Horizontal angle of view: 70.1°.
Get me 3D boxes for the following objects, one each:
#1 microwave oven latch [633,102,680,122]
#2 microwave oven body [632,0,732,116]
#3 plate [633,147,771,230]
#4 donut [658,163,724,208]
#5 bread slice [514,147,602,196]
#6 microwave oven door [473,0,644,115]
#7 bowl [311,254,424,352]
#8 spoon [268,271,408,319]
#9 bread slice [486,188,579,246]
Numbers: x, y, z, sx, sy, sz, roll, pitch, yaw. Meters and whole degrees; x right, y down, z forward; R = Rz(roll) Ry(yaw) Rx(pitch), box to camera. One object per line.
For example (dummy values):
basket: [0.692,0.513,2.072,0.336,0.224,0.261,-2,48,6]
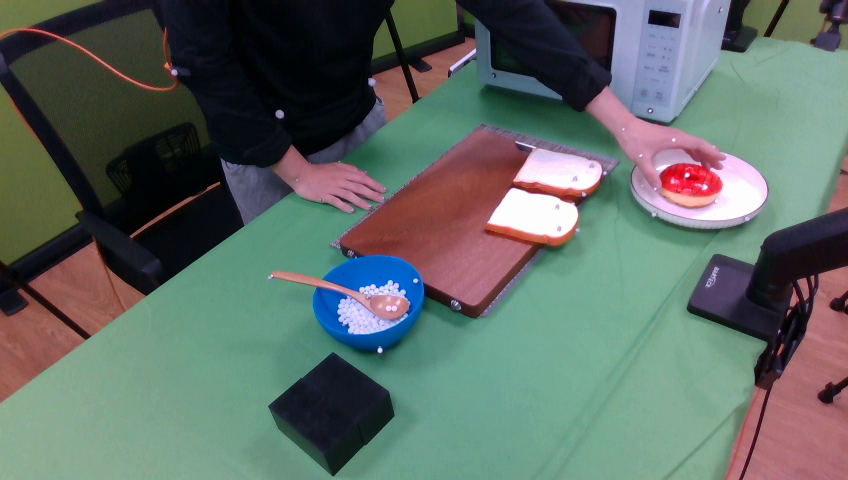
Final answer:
microwave oven latch: [0.444,-0.249,1.158,0.078,0.029,0.030,22,49,31]
microwave oven body: [0.377,-0.463,1.267,0.438,0.261,0.327,21,49,30]
plate: [0.448,-0.081,0.988,0.207,0.039,0.206,-4,40,4]
donut: [0.432,-0.089,0.982,0.099,0.048,0.098,-3,37,3]
bread slice: [0.232,-0.115,1.027,0.133,0.018,0.107,13,45,20]
microwave oven door: [0.257,-0.396,1.199,0.353,0.245,0.039,21,48,29]
bowl: [-0.071,0.098,0.821,0.151,0.077,0.150,-4,40,4]
spoon: [-0.116,0.069,0.813,0.194,0.021,0.041,18,39,1]
bread slice: [0.176,-0.037,0.946,0.131,0.019,0.105,15,47,24]
